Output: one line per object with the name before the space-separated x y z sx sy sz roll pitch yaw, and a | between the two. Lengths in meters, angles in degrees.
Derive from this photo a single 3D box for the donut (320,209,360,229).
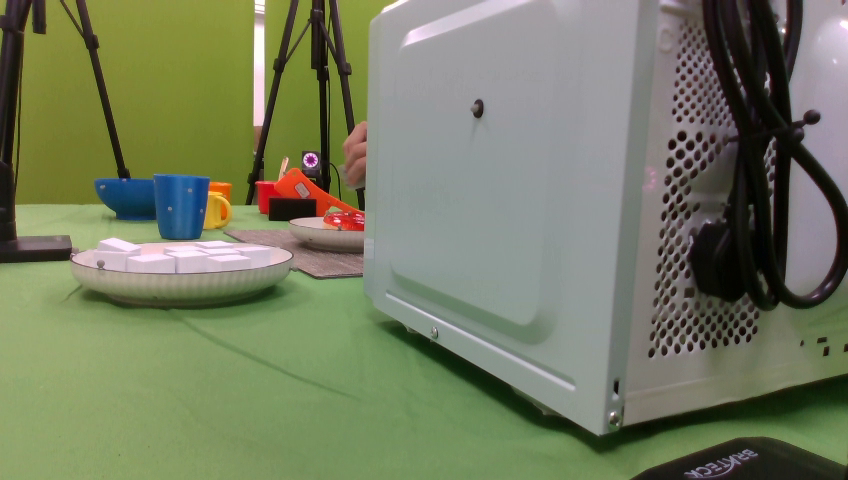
donut | -0.115 -0.023 0.961 0.099 0.048 0.099 5 9 0

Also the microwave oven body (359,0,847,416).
microwave oven body | 0.211 -0.047 0.474 0.444 0.260 0.324 -1 7 -28

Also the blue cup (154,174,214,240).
blue cup | -0.390 -0.053 0.978 0.093 0.100 0.092 3 6 0

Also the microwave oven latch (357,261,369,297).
microwave oven latch | -0.019 0.033 0.531 0.079 0.029 0.030 -1 7 -27

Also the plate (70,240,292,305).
plate | -0.242 0.031 0.618 0.208 0.039 0.207 2 8 0

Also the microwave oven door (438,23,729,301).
microwave oven door | 0.181 -0.072 0.620 0.358 0.243 0.039 -2 8 -29

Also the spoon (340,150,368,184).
spoon | -0.119 -0.138 1.104 0.041 0.021 0.193 10 27 0

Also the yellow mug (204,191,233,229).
yellow mug | -0.415 -0.057 1.132 0.130 0.064 0.100 6 8 16

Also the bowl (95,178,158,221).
bowl | -0.576 -0.081 1.217 0.151 0.077 0.151 3 8 0

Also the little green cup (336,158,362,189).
little green cup | -0.097 -0.101 0.900 0.061 0.038 0.061 -15 11 4

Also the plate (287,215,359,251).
plate | -0.111 -0.012 0.960 0.209 0.038 0.209 3 8 0

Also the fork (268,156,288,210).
fork | -0.360 -0.144 1.508 0.028 0.018 0.207 2 49 0

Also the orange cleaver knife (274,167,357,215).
orange cleaver knife | -0.238 -0.091 1.381 0.212 0.077 0.012 31 0 -19
